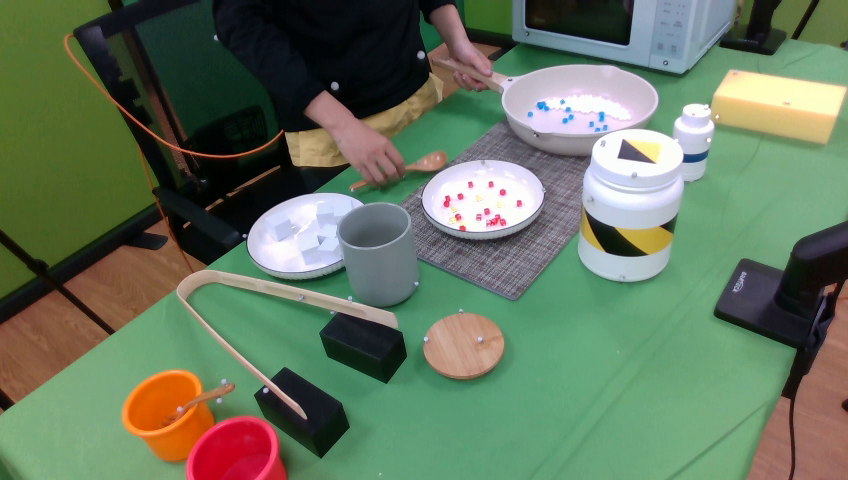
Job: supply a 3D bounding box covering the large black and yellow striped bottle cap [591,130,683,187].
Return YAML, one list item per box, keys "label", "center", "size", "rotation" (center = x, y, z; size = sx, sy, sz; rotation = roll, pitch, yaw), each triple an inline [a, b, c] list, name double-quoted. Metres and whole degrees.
- label: "large black and yellow striped bottle cap"
  center: [0.282, -0.111, 0.803]
  size: [0.115, 0.019, 0.114]
  rotation: [-3, 41, 3]

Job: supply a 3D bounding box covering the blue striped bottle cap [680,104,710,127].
- label: "blue striped bottle cap"
  center: [0.443, -0.205, 0.989]
  size: [0.044, 0.021, 0.044]
  rotation: [-1, 41, 2]

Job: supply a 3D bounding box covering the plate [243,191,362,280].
- label: "plate"
  center: [-0.187, -0.005, 0.992]
  size: [0.207, 0.039, 0.206]
  rotation: [-4, 41, 4]

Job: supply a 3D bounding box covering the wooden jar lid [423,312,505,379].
- label: "wooden jar lid"
  center: [0.053, 0.142, 0.800]
  size: [0.108, 0.021, 0.108]
  rotation: [-5, 39, 4]

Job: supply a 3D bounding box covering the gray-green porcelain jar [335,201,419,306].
- label: "gray-green porcelain jar"
  center: [-0.064, 0.024, 0.872]
  size: [0.106, 0.127, 0.105]
  rotation: [-4, 41, 4]

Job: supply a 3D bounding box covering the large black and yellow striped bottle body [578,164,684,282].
- label: "large black and yellow striped bottle body"
  center: [0.291, -0.046, 0.859]
  size: [0.131, 0.185, 0.130]
  rotation: [-4, 41, 4]

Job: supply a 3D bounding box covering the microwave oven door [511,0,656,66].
- label: "microwave oven door"
  center: [0.351, -0.539, 1.349]
  size: [0.353, 0.245, 0.039]
  rotation: [24, 50, 31]

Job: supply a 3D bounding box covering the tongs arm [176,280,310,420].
- label: "tongs arm"
  center: [-0.254, 0.134, 0.801]
  size: [0.028, 0.028, 0.384]
  rotation: [-42, 41, -22]

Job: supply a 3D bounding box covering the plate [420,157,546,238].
- label: "plate"
  center: [0.099, -0.067, 1.017]
  size: [0.209, 0.038, 0.208]
  rotation: [-4, 40, 4]

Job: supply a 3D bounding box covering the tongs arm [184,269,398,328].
- label: "tongs arm"
  center: [-0.202, 0.084, 0.848]
  size: [0.382, 0.027, 0.051]
  rotation: [11, 45, 34]

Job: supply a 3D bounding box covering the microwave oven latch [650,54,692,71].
- label: "microwave oven latch"
  center: [0.531, -0.386, 1.301]
  size: [0.078, 0.029, 0.030]
  rotation: [25, 51, 33]

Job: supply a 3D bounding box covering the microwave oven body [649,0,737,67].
- label: "microwave oven body"
  center: [0.475, -0.602, 1.411]
  size: [0.438, 0.261, 0.327]
  rotation: [23, 50, 32]

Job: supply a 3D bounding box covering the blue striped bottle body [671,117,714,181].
- label: "blue striped bottle body"
  center: [0.449, -0.165, 1.022]
  size: [0.063, 0.121, 0.063]
  rotation: [-5, 41, 4]

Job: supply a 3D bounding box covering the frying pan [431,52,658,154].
- label: "frying pan"
  center: [0.216, -0.302, 1.223]
  size: [0.484, 0.103, 0.308]
  rotation: [29, 50, 24]

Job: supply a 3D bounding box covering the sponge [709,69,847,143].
- label: "sponge"
  center: [0.663, -0.256, 1.141]
  size: [0.205, 0.061, 0.118]
  rotation: [18, 47, 28]

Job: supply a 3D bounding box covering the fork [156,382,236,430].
- label: "fork"
  center: [-0.262, 0.189, 0.690]
  size: [0.018, 0.206, 0.028]
  rotation: [49, 43, -7]

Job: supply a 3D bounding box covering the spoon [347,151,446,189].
- label: "spoon"
  center: [-0.050, -0.128, 1.115]
  size: [0.194, 0.022, 0.041]
  rotation: [-16, 59, -15]
